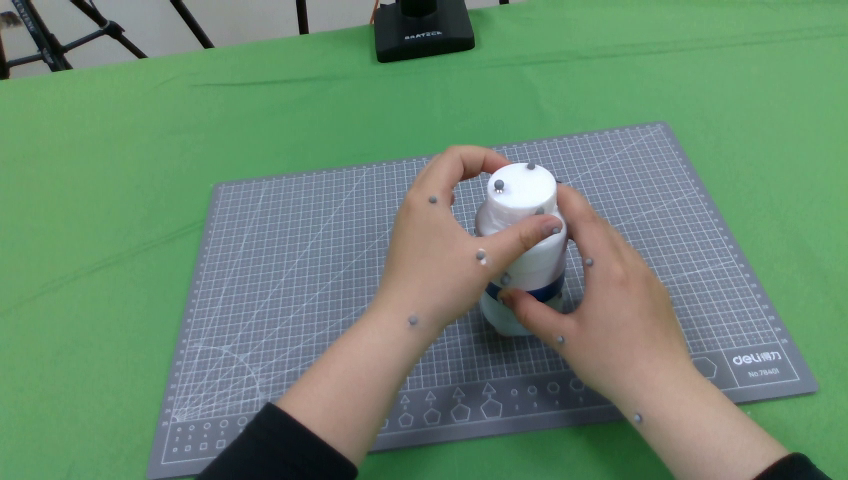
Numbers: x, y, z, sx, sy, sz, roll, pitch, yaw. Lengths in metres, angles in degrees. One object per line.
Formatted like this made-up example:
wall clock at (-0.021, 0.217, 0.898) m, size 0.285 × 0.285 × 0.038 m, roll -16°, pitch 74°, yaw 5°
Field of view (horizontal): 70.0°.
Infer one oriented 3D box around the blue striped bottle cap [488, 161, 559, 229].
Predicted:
blue striped bottle cap at (0.063, -0.029, 0.382) m, size 0.044 × 0.021 × 0.044 m, roll -7°, pitch 45°, yaw 8°

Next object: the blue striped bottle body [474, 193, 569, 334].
blue striped bottle body at (0.068, 0.007, 0.422) m, size 0.063 × 0.122 × 0.062 m, roll -4°, pitch 47°, yaw 5°
